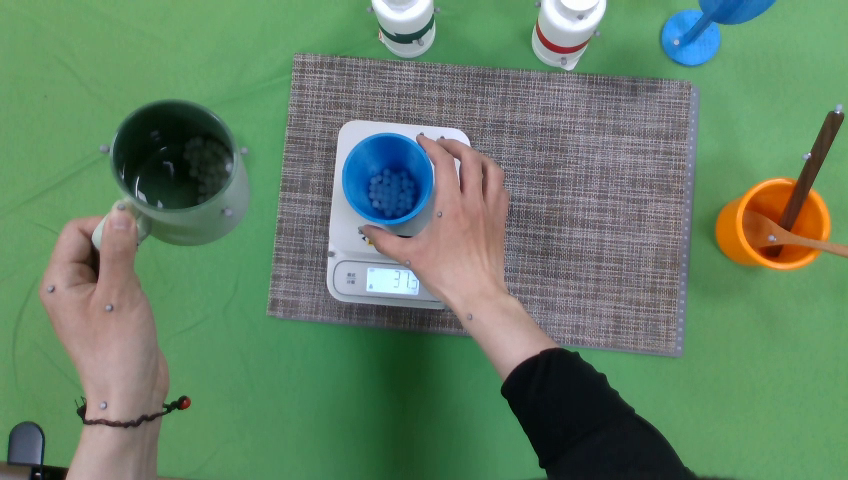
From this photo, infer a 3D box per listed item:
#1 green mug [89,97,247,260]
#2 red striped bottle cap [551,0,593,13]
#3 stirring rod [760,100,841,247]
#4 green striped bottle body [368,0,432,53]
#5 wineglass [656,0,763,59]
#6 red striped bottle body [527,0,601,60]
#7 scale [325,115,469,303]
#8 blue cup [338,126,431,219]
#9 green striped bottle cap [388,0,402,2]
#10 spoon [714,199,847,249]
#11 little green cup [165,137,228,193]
[{"bbox_3d":[-0.189,-0.036,0.441,0.093,0.105,0.125,40,73,-7],"label":"green mug"},{"bbox_3d":[0.142,-0.241,0.575,0.044,0.018,0.044,0,84,2],"label":"red striped bottle cap"},{"bbox_3d":[0.365,-0.058,0.594,0.014,0.178,0.006,14,46,17],"label":"stirring rod"},{"bbox_3d":[-0.025,-0.248,0.636,0.063,0.119,0.063,0,86,3],"label":"green striped bottle body"},{"bbox_3d":[0.289,-0.242,0.596,0.074,0.172,0.073,0,86,3],"label":"wineglass"},{"bbox_3d":[0.145,-0.237,0.628,0.063,0.120,0.063,0,86,2],"label":"red striped bottle body"},{"bbox_3d":[-0.030,-0.034,0.663,0.148,0.031,0.200,4,87,3],"label":"scale"},{"bbox_3d":[-0.036,-0.059,0.600,0.093,0.100,0.092,0,87,-1],"label":"blue cup"},{"bbox_3d":[-0.028,-0.254,0.580,0.044,0.020,0.044,0,86,3],"label":"green striped bottle cap"},{"bbox_3d":[0.380,-0.004,0.590,0.022,0.192,0.041,15,95,-40],"label":"spoon"},{"bbox_3d":[-0.251,-0.081,0.676,0.061,0.038,0.061,0,88,1],"label":"little green cup"}]
